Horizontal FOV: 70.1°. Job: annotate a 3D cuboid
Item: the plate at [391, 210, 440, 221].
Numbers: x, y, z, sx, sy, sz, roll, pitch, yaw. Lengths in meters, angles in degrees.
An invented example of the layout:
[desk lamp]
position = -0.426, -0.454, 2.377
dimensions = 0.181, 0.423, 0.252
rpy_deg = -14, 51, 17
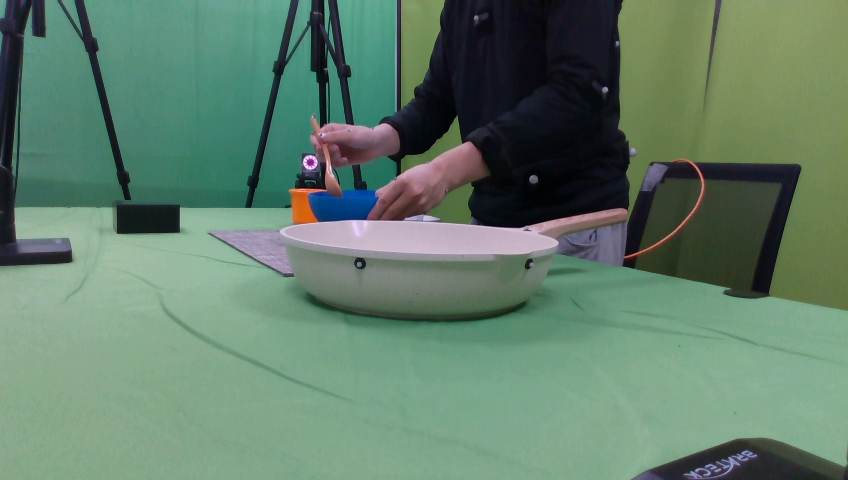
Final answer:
[plate]
position = -0.073, -0.035, 1.196
dimensions = 0.208, 0.039, 0.207
rpy_deg = 5, 7, 0

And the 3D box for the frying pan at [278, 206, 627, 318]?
[frying pan]
position = 0.079, 0.002, 0.705
dimensions = 0.490, 0.102, 0.305
rpy_deg = -12, 15, -33

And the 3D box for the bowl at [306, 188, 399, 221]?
[bowl]
position = -0.114, -0.040, 0.982
dimensions = 0.151, 0.077, 0.151
rpy_deg = 0, 10, 0

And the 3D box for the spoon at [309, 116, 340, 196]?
[spoon]
position = -0.171, -0.141, 1.029
dimensions = 0.022, 0.193, 0.041
rpy_deg = -3, -36, -21
